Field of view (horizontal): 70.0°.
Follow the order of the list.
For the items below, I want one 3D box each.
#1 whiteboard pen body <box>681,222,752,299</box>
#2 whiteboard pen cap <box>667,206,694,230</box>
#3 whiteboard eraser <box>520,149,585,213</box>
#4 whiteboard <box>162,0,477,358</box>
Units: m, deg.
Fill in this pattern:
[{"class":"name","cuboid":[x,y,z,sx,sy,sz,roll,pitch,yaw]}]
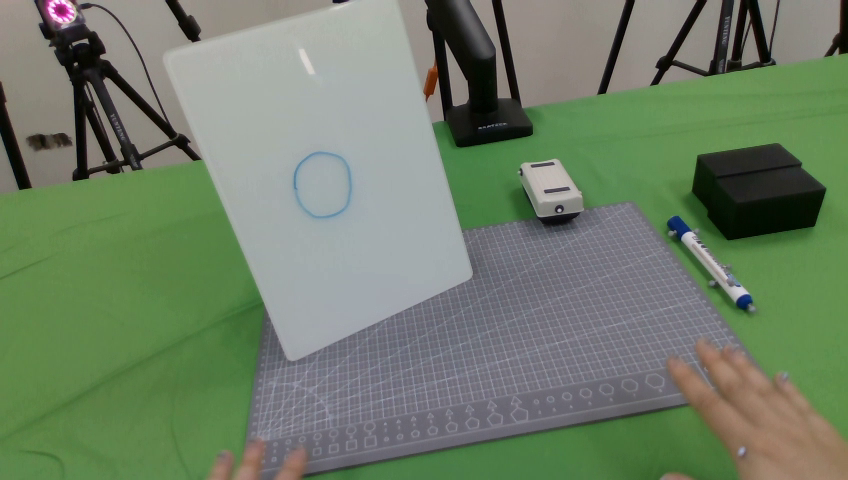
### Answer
[{"class":"whiteboard pen body","cuboid":[0.298,0.012,0.635,0.017,0.017,0.139,-11,37,-3]},{"class":"whiteboard pen cap","cuboid":[0.289,-0.023,0.680,0.018,0.018,0.033,-11,36,-3]},{"class":"whiteboard eraser","cuboid":[0.157,-0.073,0.750,0.055,0.042,0.111,-10,34,1]},{"class":"whiteboard","cuboid":[-0.104,-0.077,0.634,0.217,0.307,0.142,-24,21,-18]}]
